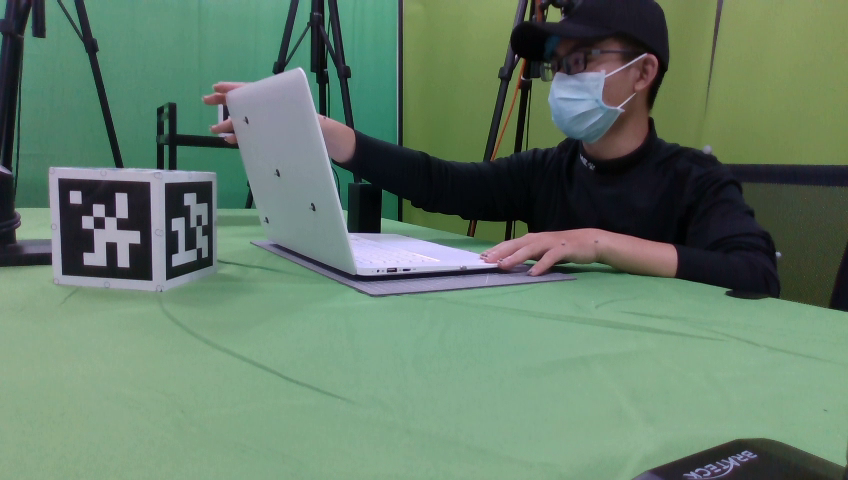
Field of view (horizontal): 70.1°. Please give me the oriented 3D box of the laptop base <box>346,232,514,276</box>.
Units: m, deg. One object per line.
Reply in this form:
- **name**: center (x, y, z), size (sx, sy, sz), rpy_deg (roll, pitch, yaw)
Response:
- **laptop base**: center (-0.066, 0.017, 0.893), size (0.237, 0.023, 0.352), rpy_deg (2, 6, -32)

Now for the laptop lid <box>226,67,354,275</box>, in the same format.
- **laptop lid**: center (-0.191, -0.091, 0.800), size (0.013, 0.241, 0.355), rpy_deg (-20, 19, -27)
